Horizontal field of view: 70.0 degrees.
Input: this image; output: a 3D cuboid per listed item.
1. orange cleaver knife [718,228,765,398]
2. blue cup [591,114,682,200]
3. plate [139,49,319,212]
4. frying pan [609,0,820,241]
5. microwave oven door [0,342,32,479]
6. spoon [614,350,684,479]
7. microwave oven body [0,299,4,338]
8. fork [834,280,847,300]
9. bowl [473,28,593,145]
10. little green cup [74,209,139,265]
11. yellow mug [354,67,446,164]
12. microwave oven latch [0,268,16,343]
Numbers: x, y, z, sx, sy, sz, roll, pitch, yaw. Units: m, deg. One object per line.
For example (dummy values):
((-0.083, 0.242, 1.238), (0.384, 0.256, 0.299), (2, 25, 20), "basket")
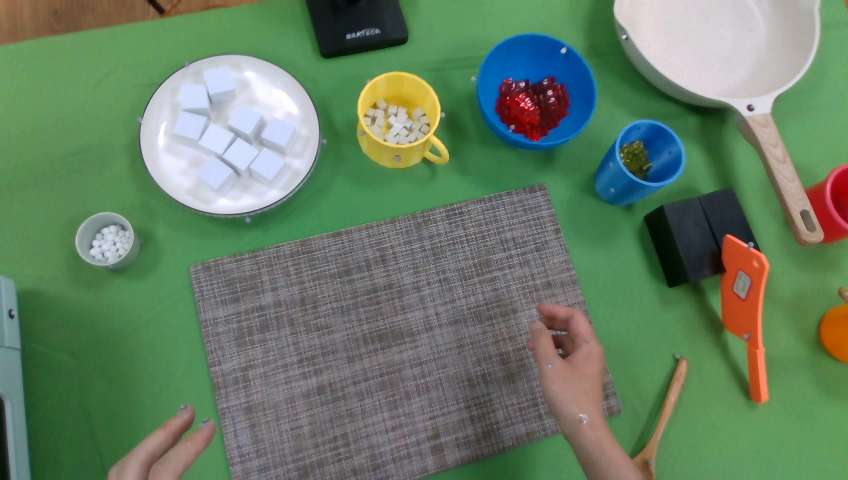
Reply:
((0.387, 0.090, 0.738), (0.012, 0.076, 0.212), (-15, 107, -10), "orange cleaver knife")
((0.255, -0.095, 0.755), (0.093, 0.100, 0.092), (2, 73, -6), "blue cup")
((-0.231, -0.131, 0.735), (0.208, 0.039, 0.206), (2, 76, -7), "plate")
((0.409, -0.224, 0.807), (0.307, 0.103, 0.484), (-9, 70, -8), "frying pan")
((-0.394, 0.253, 0.495), (0.039, 0.244, 0.354), (-11, 78, -10), "microwave oven door")
((0.276, 0.217, 0.723), (0.041, 0.022, 0.193), (27, 74, 12), "spoon")
((-0.546, 0.241, 0.483), (0.327, 0.261, 0.439), (-11, 78, -10), "microwave oven body")
((0.514, 0.084, 0.721), (0.209, 0.018, 0.028), (30, 68, -44), "fork")
((0.129, -0.182, 0.774), (0.152, 0.077, 0.150), (2, 76, -7), "bowl")
((-0.355, -0.001, 0.685), (0.062, 0.039, 0.061), (2, 77, -7), "little green cup")
((-0.025, -0.144, 0.751), (0.131, 0.064, 0.100), (38, 74, 2), "yellow mug")
((-0.452, 0.069, 0.637), (0.030, 0.029, 0.079), (-10, 78, -10), "microwave oven latch")
